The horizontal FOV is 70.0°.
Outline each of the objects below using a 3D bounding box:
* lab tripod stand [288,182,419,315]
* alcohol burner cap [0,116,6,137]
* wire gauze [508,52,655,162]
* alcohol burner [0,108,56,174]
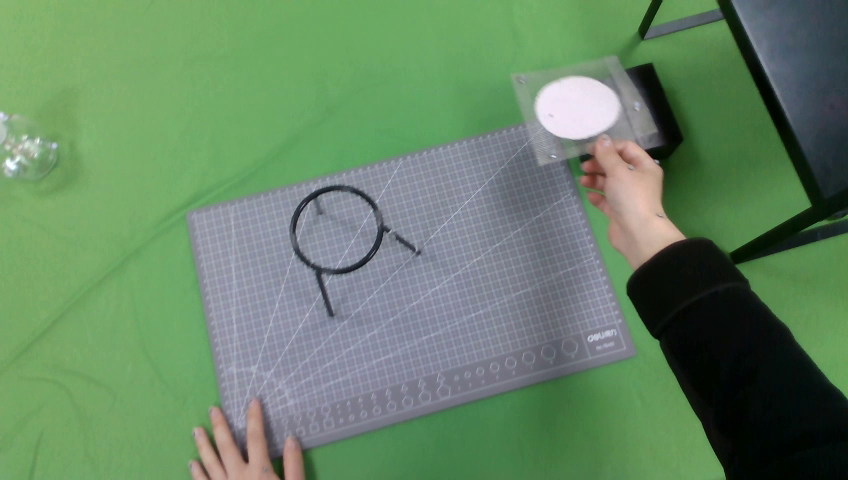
[{"bbox_3d":[-0.084,0.001,0.632,0.148,0.132,0.147,-1,76,4],"label":"lab tripod stand"},{"bbox_3d":[-0.479,-0.130,0.650,0.034,0.048,0.033,1,76,-5],"label":"alcohol burner cap"},{"bbox_3d":[0.160,-0.144,0.629,0.121,0.011,0.124,-12,60,-1],"label":"wire gauze"},{"bbox_3d":[-0.477,-0.120,0.685,0.078,0.119,0.077,0,77,1],"label":"alcohol burner"}]
